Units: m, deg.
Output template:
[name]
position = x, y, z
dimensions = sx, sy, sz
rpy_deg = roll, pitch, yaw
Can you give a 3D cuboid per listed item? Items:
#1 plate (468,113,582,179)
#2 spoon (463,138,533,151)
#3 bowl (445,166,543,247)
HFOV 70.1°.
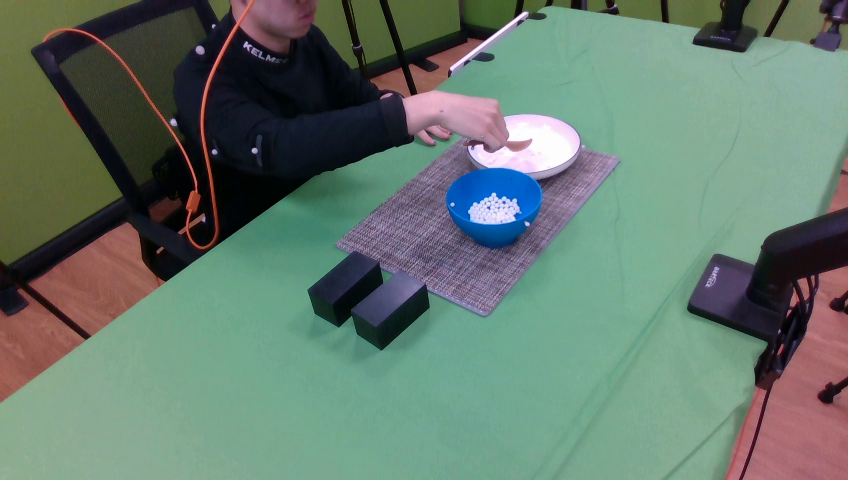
[plate]
position = 0.186, -0.169, 1.122
dimensions = 0.207, 0.039, 0.206
rpy_deg = -4, 41, 4
[spoon]
position = 0.126, -0.165, 1.032
dimensions = 0.041, 0.021, 0.195
rpy_deg = -15, -7, 43
[bowl]
position = 0.111, -0.042, 0.952
dimensions = 0.151, 0.077, 0.150
rpy_deg = -4, 41, 4
